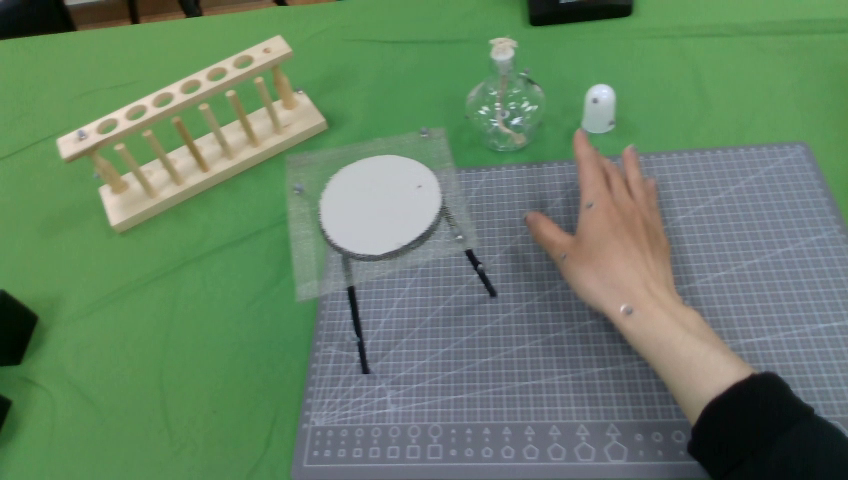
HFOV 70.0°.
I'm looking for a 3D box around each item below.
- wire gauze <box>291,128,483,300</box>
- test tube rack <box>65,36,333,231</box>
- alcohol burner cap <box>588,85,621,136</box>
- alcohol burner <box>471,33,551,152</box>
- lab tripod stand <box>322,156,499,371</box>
[{"bbox_3d":[-0.030,-0.025,0.414,0.121,0.011,0.123,-13,54,1],"label":"wire gauze"},{"bbox_3d":[-0.225,-0.112,0.629,0.242,0.086,0.066,-29,55,-11],"label":"test tube rack"},{"bbox_3d":[0.180,-0.130,0.598,0.034,0.048,0.033,-6,54,8],"label":"alcohol burner cap"},{"bbox_3d":[0.083,-0.144,0.580,0.078,0.120,0.077,-5,52,7],"label":"alcohol burner"},{"bbox_3d":[-0.018,0.016,0.466,0.148,0.133,0.147,-4,56,6],"label":"lab tripod stand"}]
